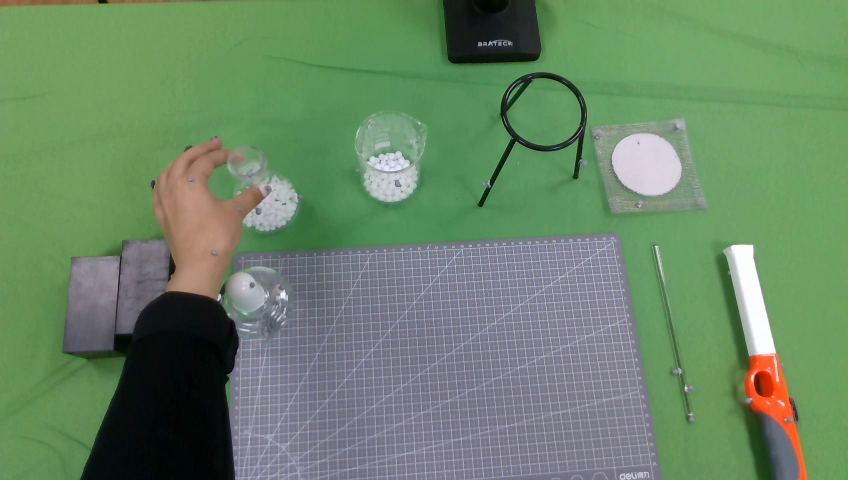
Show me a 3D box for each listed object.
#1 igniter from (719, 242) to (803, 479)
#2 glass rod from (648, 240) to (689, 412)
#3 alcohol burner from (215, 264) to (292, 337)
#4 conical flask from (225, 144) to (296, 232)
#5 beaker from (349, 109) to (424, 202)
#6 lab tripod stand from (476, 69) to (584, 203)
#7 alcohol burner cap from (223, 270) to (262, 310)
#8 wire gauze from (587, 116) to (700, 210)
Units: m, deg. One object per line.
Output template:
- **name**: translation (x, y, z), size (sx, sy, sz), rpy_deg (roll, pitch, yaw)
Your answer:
- **igniter**: translation (0.375, 0.135, 0.677), size (0.057, 0.025, 0.275), rpy_deg (0, 73, -15)
- **glass rod**: translation (0.279, 0.095, 0.694), size (0.008, 0.008, 0.198), rpy_deg (-4, 73, -5)
- **alcohol burner**: translation (-0.178, 0.058, 0.618), size (0.078, 0.119, 0.077), rpy_deg (0, 73, -1)
- **conical flask**: translation (-0.182, -0.061, 0.651), size (0.075, 0.122, 0.075), rpy_deg (2, 73, -5)
- **beaker**: translation (-0.040, -0.092, 0.683), size (0.084, 0.101, 0.073), rpy_deg (-28, 76, -12)
- **lab tripod stand**: translation (0.116, -0.113, 0.681), size (0.148, 0.132, 0.147), rpy_deg (1, 75, -3)
- **alcohol burner cap**: translation (-0.177, 0.046, 0.585), size (0.034, 0.048, 0.033), rpy_deg (2, 67, -4)
- **wire gauze**: translation (0.273, -0.095, 0.751), size (0.125, 0.011, 0.120), rpy_deg (-4, 74, -7)
